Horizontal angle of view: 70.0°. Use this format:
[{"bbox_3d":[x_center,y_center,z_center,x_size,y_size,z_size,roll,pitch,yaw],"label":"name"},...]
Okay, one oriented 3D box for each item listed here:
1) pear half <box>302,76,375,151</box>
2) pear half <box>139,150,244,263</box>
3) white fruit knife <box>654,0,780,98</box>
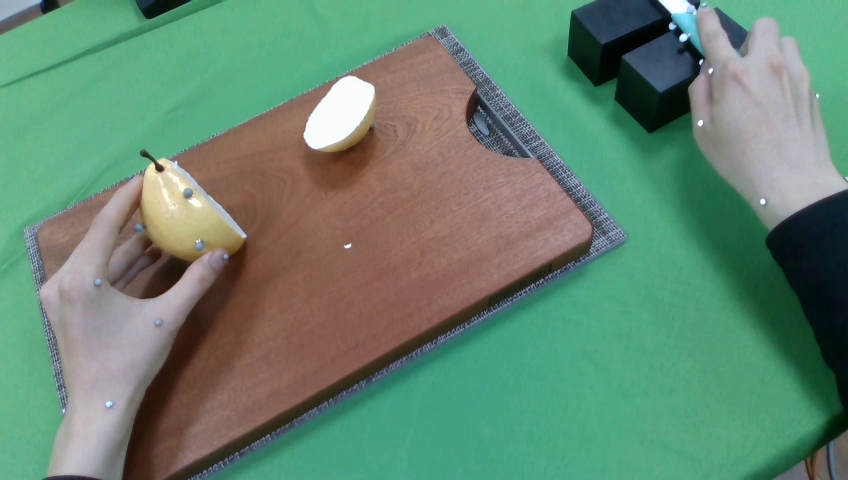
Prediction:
[{"bbox_3d":[-0.068,-0.104,0.521,0.070,0.031,0.087,-12,45,20],"label":"pear half"},{"bbox_3d":[-0.185,-0.023,0.448,0.056,0.111,0.075,-44,56,-15],"label":"pear half"},{"bbox_3d":[0.219,-0.187,0.510,0.027,0.016,0.205,-20,57,-9],"label":"white fruit knife"}]
